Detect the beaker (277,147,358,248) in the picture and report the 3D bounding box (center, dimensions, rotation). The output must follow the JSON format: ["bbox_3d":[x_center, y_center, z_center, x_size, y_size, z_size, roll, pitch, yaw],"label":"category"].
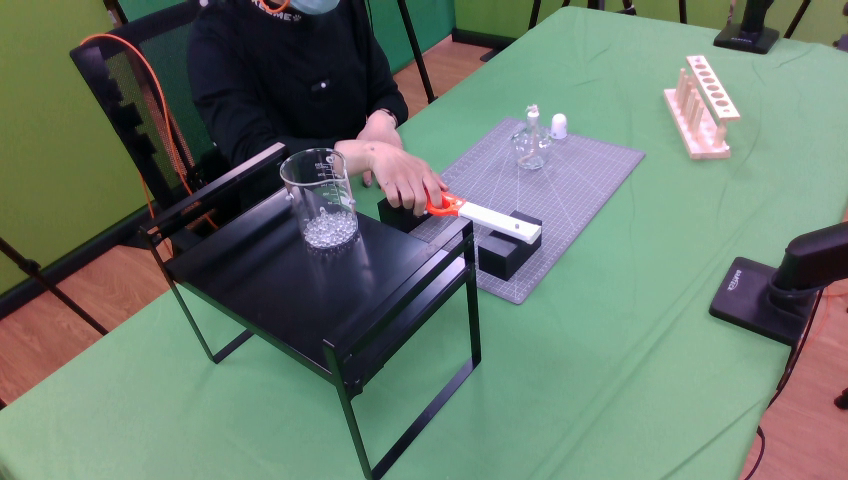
[{"bbox_3d":[-0.117,-0.046,0.705,0.083,0.101,0.074,17,47,25],"label":"beaker"}]

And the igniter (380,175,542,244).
[{"bbox_3d":[0.051,-0.052,0.941,0.274,0.025,0.057,21,47,26],"label":"igniter"}]

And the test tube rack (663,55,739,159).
[{"bbox_3d":[0.518,-0.256,1.144,0.066,0.085,0.241,-1,41,8],"label":"test tube rack"}]

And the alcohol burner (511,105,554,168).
[{"bbox_3d":[0.196,-0.190,1.088,0.078,0.119,0.077,-3,42,3],"label":"alcohol burner"}]

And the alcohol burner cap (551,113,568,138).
[{"bbox_3d":[0.263,-0.223,1.172,0.034,0.048,0.033,-5,40,4],"label":"alcohol burner cap"}]
